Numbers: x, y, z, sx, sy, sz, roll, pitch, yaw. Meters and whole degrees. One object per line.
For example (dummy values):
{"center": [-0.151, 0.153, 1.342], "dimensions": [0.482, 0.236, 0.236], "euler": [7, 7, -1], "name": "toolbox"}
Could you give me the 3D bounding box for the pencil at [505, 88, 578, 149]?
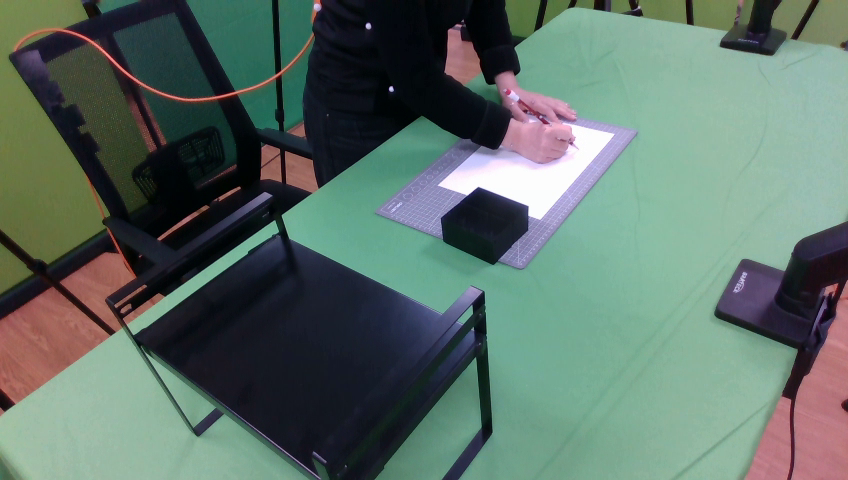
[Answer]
{"center": [0.218, -0.217, 1.099], "dimensions": [0.012, 0.195, 0.012], "euler": [-41, 31, 31], "name": "pencil"}
